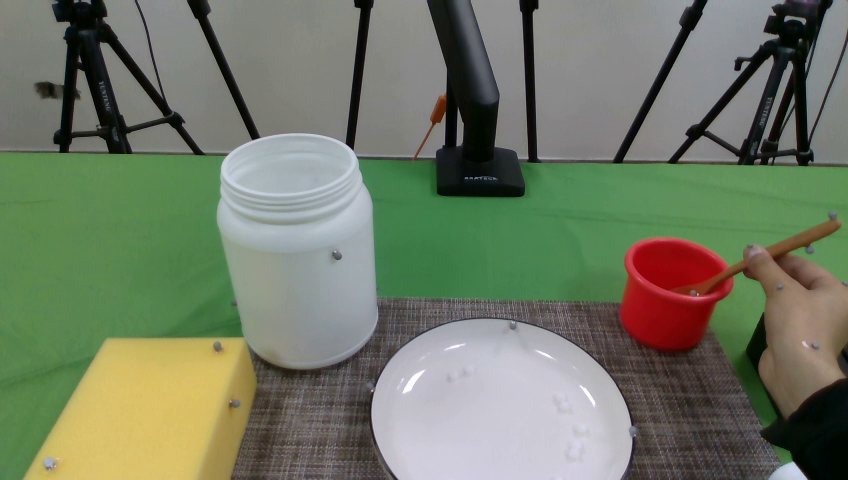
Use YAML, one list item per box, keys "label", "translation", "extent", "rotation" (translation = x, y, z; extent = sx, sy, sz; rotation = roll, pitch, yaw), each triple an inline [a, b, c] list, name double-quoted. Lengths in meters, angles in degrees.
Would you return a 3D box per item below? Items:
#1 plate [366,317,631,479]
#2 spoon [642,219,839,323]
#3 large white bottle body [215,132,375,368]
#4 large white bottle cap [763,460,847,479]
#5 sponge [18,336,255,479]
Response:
- label: "plate"
  translation: [0.058, 0.146, 0.492]
  extent: [0.209, 0.038, 0.207]
  rotation: [2, 36, -1]
- label: "spoon"
  translation: [0.274, 0.031, 0.545]
  extent: [0.022, 0.194, 0.041]
  rotation: [30, 51, -11]
- label: "large white bottle body"
  translation: [-0.112, 0.009, 0.547]
  extent: [0.130, 0.186, 0.129]
  rotation: [1, 36, 0]
- label: "large white bottle cap"
  translation: [0.298, 0.211, 0.433]
  extent: [0.115, 0.018, 0.113]
  rotation: [3, 36, -2]
- label: "sponge"
  translation: [-0.208, 0.162, 0.440]
  extent: [0.118, 0.061, 0.205]
  rotation: [-1, 35, 0]
